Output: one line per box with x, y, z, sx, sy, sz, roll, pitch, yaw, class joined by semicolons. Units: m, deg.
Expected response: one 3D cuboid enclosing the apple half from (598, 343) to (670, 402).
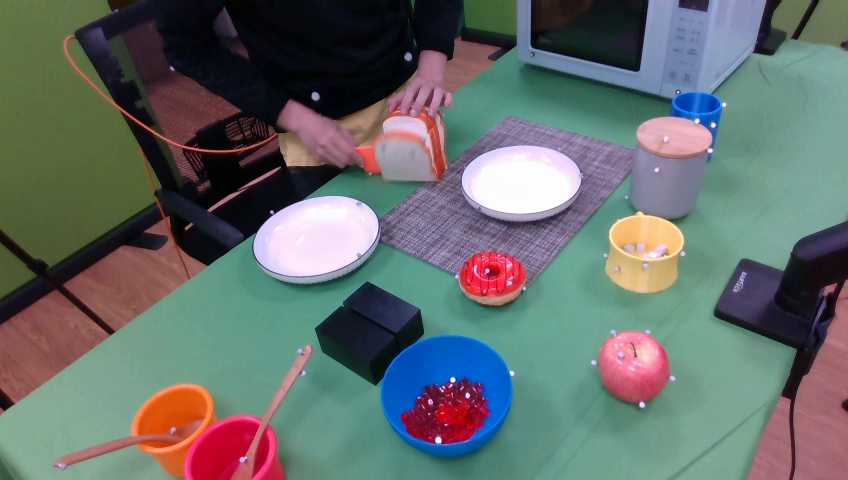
0.247;0.161;0.710;0.081;0.075;0.053;2;47;5;apple half

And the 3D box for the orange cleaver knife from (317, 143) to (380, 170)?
-0.100;-0.158;1.119;0.210;0.078;0.012;-1;52;26;orange cleaver knife

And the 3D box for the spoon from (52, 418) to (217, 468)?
-0.308;0.220;0.663;0.041;0.195;0.021;21;93;29;spoon

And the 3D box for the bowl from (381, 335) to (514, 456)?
0.029;0.192;0.701;0.151;0.077;0.150;-4;40;4;bowl

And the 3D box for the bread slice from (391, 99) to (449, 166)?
-0.007;-0.197;1.118;0.104;0.132;0.019;6;39;15;bread slice

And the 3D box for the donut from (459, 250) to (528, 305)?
0.100;0.053;0.872;0.099;0.048;0.098;-5;41;4;donut

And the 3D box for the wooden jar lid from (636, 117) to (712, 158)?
0.377;-0.151;0.917;0.108;0.021;0.108;-2;41;3;wooden jar lid

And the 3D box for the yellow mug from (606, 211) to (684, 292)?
0.318;0.008;0.883;0.100;0.064;0.130;0;40;9;yellow mug

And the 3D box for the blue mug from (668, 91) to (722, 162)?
0.474;-0.207;1.079;0.082;0.106;0.116;4;42;13;blue mug

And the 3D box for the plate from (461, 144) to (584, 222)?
0.168;-0.095;1.040;0.207;0.039;0.206;-4;40;4;plate

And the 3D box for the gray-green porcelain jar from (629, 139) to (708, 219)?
0.383;-0.105;0.958;0.106;0.127;0.105;-4;41;4;gray-green porcelain jar

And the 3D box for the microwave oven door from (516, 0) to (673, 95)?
0.344;-0.458;1.256;0.353;0.245;0.039;26;51;33;microwave oven door

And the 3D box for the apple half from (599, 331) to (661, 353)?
0.249;0.134;0.738;0.081;0.081;0.032;-1;46;7;apple half

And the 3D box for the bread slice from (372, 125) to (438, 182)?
-0.037;-0.150;1.060;0.106;0.135;0.018;4;59;16;bread slice

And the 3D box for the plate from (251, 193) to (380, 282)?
-0.173;-0.001;0.984;0.209;0.038;0.208;-4;40;3;plate

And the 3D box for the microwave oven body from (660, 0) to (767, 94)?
0.473;-0.516;1.313;0.438;0.261;0.327;26;51;34;microwave oven body

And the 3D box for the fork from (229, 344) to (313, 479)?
-0.173;0.205;0.662;0.028;0.019;0.207;29;94;36;fork

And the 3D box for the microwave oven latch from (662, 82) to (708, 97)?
0.518;-0.298;1.203;0.078;0.029;0.030;28;53;35;microwave oven latch
